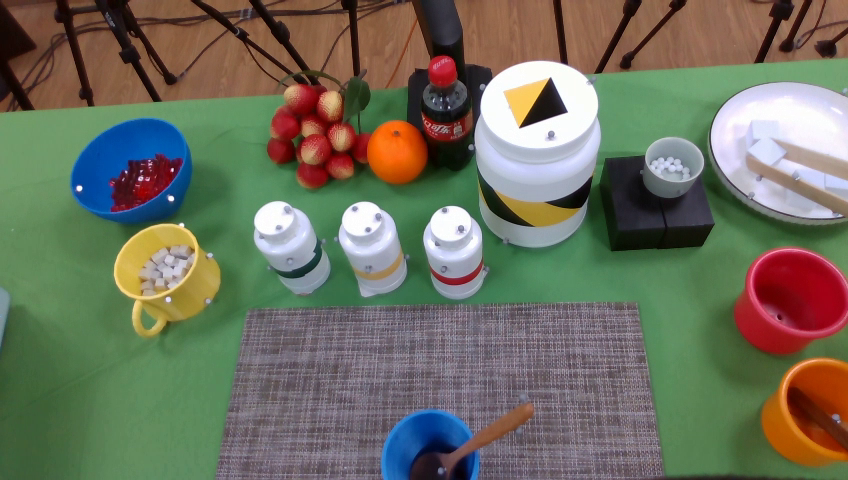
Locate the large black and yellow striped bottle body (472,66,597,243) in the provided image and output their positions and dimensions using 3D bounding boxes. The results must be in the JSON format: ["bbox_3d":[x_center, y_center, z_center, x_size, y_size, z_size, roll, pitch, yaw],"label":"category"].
[{"bbox_3d":[0.120,-0.094,0.675,0.130,0.185,0.129,-3,60,5],"label":"large black and yellow striped bottle body"}]

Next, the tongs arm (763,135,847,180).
[{"bbox_3d":[0.476,-0.031,0.561,0.028,0.028,0.383,-30,35,-9],"label":"tongs arm"}]

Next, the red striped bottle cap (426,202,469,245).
[{"bbox_3d":[0.024,-0.017,0.619,0.044,0.018,0.044,-1,59,2],"label":"red striped bottle cap"}]

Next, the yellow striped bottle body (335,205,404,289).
[{"bbox_3d":[-0.061,0.003,0.678,0.063,0.121,0.062,-3,60,6],"label":"yellow striped bottle body"}]

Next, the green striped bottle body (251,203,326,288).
[{"bbox_3d":[-0.155,0.003,0.690,0.063,0.120,0.062,-3,60,5],"label":"green striped bottle body"}]

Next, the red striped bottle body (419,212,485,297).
[{"bbox_3d":[0.031,0.010,0.664,0.063,0.121,0.062,-5,58,9],"label":"red striped bottle body"}]

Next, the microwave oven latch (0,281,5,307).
[{"bbox_3d":[-0.521,0.082,0.714,0.030,0.030,0.078,-8,61,2],"label":"microwave oven latch"}]

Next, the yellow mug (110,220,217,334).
[{"bbox_3d":[-0.311,0.048,0.714,0.100,0.064,0.130,8,62,9],"label":"yellow mug"}]

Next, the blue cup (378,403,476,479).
[{"bbox_3d":[0.007,0.208,0.562,0.092,0.101,0.092,-2,59,4],"label":"blue cup"}]

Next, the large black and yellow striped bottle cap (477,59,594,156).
[{"bbox_3d":[0.110,-0.134,0.602,0.115,0.019,0.114,-3,59,6],"label":"large black and yellow striped bottle cap"}]

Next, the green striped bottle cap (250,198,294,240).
[{"bbox_3d":[-0.162,-0.023,0.645,0.044,0.020,0.044,-3,59,5],"label":"green striped bottle cap"}]

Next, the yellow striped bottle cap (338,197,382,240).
[{"bbox_3d":[-0.067,-0.023,0.634,0.044,0.019,0.044,-2,62,5],"label":"yellow striped bottle cap"}]

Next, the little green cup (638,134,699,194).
[{"bbox_3d":[0.270,-0.083,0.678,0.061,0.039,0.061,-2,59,4],"label":"little green cup"}]

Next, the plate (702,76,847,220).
[{"bbox_3d":[0.441,-0.109,0.731,0.209,0.038,0.207,-3,61,5],"label":"plate"}]

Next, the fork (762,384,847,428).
[{"bbox_3d":[0.387,0.166,0.516,0.028,0.019,0.206,-29,17,-18],"label":"fork"}]

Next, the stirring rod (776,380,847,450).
[{"bbox_3d":[0.360,0.168,0.525,0.014,0.006,0.175,-5,17,1],"label":"stirring rod"}]

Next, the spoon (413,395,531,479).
[{"bbox_3d":[0.034,0.179,0.528,0.022,0.194,0.041,-1,57,-32],"label":"spoon"}]

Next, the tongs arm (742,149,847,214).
[{"bbox_3d":[0.457,-0.019,0.559,0.051,0.027,0.380,-30,35,-3],"label":"tongs arm"}]

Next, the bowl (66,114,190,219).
[{"bbox_3d":[-0.367,-0.081,0.786,0.151,0.077,0.150,-2,61,5],"label":"bowl"}]
